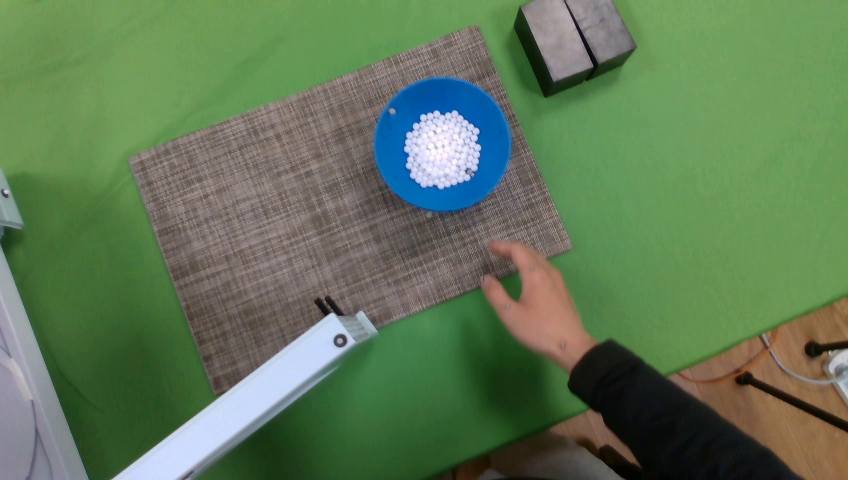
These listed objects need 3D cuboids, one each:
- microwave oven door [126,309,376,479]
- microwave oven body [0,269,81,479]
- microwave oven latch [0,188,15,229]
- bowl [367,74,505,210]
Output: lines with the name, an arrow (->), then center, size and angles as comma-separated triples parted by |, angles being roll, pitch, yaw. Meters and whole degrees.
microwave oven door -> -0.203, 0.187, 0.560 | 0.356, 0.244, 0.039 | -38, 85, -5
microwave oven body -> -0.556, 0.158, 0.561 | 0.326, 0.260, 0.440 | -24, 86, -4
microwave oven latch -> -0.493, -0.051, 0.680 | 0.030, 0.029, 0.079 | -24, 86, -4
bowl -> 0.013, -0.102, 0.689 | 0.151, 0.077, 0.151 | 0, 84, -1
